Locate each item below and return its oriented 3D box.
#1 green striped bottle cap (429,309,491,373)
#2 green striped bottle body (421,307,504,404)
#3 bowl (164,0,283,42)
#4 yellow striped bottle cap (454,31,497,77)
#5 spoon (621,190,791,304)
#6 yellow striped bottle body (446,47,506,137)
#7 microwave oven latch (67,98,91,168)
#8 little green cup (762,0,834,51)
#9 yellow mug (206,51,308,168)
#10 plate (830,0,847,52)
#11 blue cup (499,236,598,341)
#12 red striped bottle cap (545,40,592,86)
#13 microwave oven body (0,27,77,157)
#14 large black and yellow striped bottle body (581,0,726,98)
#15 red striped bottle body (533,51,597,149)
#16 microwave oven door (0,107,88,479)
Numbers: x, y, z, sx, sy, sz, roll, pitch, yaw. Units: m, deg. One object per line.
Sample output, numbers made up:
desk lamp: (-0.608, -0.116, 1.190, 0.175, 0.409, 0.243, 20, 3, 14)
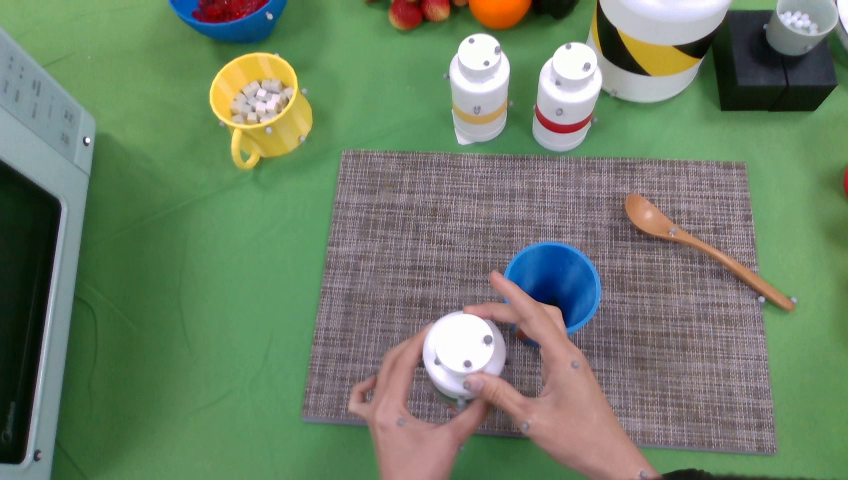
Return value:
green striped bottle cap: (0.026, 0.072, 0.436, 0.044, 0.020, 0.044, 0, 65, 1)
green striped bottle body: (0.031, 0.092, 0.484, 0.063, 0.120, 0.062, -1, 68, 4)
bowl: (-0.236, -0.302, 0.752, 0.151, 0.077, 0.150, -1, 69, 4)
yellow striped bottle cap: (0.052, -0.187, 0.606, 0.044, 0.019, 0.044, -1, 71, 4)
spoon: (0.285, 0.008, 0.617, 0.192, 0.022, 0.041, 34, 50, 15)
yellow striped bottle body: (0.056, -0.168, 0.654, 0.063, 0.121, 0.062, -2, 69, 5)
microwave oven latch: (-0.407, -0.122, 0.699, 0.030, 0.030, 0.078, -5, 70, 3)
little green cup: (0.392, -0.233, 0.641, 0.061, 0.039, 0.061, -1, 68, 3)
yellow mug: (-0.195, -0.144, 0.695, 0.100, 0.064, 0.130, 12, 71, 8)
plate: (0.564, -0.256, 0.689, 0.209, 0.038, 0.207, -1, 70, 4)
blue cup: (0.111, 0.054, 0.571, 0.092, 0.101, 0.092, -1, 68, 3)
red striped bottle cap: (0.142, -0.174, 0.593, 0.044, 0.018, 0.044, 0, 68, 0)
microwave oven body: (-0.546, 0.024, 0.553, 0.326, 0.262, 0.438, -7, 69, 2)
large black and yellow striped bottle body: (0.242, -0.252, 0.636, 0.131, 0.185, 0.130, -2, 69, 5)
red striped bottle body: (0.148, -0.153, 0.641, 0.063, 0.120, 0.062, -3, 66, 8)
microwave oven door: (-0.398, 0.045, 0.527, 0.039, 0.245, 0.353, -7, 69, 3)
